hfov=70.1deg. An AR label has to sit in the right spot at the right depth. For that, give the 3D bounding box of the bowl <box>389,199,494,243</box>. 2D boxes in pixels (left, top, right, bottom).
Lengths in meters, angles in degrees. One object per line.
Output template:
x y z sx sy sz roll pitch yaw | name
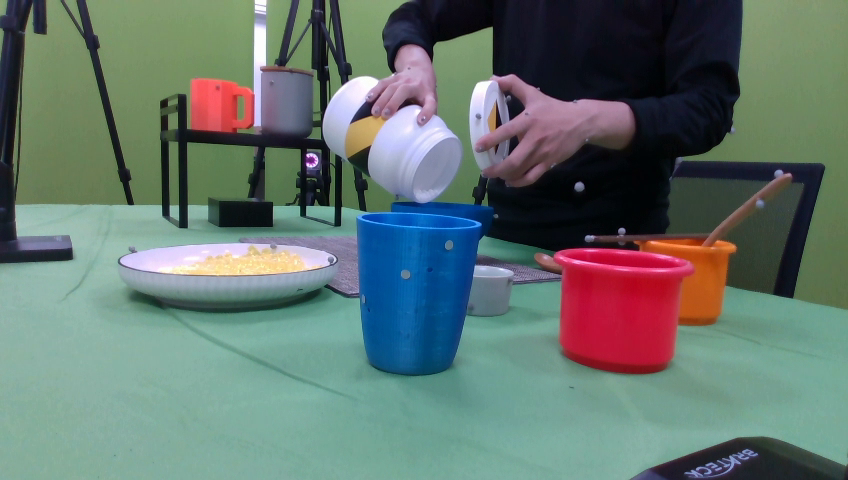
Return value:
0.023 -0.016 0.872 0.151 0.077 0.151 2 7 0 | bowl

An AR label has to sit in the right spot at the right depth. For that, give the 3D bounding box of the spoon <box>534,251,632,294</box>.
0.193 0.038 0.753 0.042 0.021 0.193 14 2 -21 | spoon

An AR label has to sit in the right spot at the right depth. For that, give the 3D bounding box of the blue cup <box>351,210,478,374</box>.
-0.009 0.034 0.414 0.093 0.100 0.092 4 8 0 | blue cup

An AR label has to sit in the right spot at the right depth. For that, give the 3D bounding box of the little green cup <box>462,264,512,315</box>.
0.053 0.047 0.579 0.061 0.038 0.061 3 8 0 | little green cup

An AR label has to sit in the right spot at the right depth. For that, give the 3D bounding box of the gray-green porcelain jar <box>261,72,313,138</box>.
-0.284 -0.277 1.253 0.106 0.126 0.106 2 8 0 | gray-green porcelain jar

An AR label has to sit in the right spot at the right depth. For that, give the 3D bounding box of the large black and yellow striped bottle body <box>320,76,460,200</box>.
-0.049 -0.149 0.896 0.183 0.130 0.131 36 24 27 | large black and yellow striped bottle body

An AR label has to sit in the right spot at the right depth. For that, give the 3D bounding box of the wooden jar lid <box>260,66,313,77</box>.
-0.283 -0.339 1.244 0.108 0.020 0.108 5 9 -1 | wooden jar lid

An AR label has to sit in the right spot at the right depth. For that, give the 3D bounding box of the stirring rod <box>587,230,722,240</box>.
0.227 -0.006 0.585 0.177 0.006 0.014 -2 7 -28 | stirring rod

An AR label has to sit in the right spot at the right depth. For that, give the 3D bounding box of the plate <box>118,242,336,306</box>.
-0.194 0.033 0.615 0.209 0.038 0.209 2 7 0 | plate

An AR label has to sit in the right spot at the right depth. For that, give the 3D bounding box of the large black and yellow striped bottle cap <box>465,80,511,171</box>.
0.084 -0.146 0.772 0.018 0.115 0.115 -6 3 28 | large black and yellow striped bottle cap

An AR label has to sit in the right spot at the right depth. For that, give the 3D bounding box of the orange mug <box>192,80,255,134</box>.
-0.389 -0.257 1.172 0.126 0.100 0.083 -1 6 9 | orange mug

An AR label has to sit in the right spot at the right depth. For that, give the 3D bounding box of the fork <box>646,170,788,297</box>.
0.256 0.004 0.543 0.028 0.018 0.207 3 -36 -10 | fork
